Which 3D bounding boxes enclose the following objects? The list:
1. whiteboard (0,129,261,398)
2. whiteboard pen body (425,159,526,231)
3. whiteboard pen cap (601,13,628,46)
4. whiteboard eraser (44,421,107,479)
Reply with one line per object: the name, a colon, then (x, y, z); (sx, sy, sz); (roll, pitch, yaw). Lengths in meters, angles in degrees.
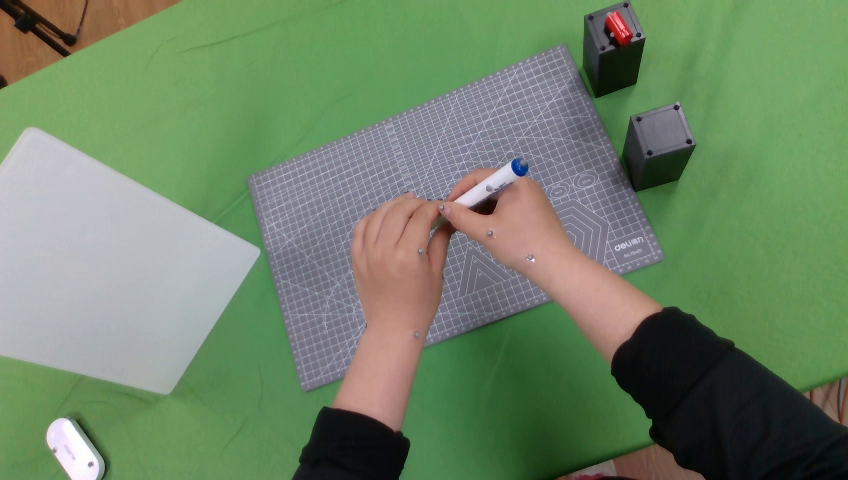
whiteboard: (-0.387, 0.025, 0.698); (0.142, 0.309, 0.217); (27, 83, 38)
whiteboard pen body: (0.039, -0.034, 0.529); (0.140, 0.017, 0.016); (-33, 63, 51)
whiteboard pen cap: (0.201, -0.222, 0.638); (0.017, 0.017, 0.032); (-27, 73, 5)
whiteboard eraser: (-0.442, 0.270, 0.764); (0.100, 0.019, 0.041); (41, 87, 18)
